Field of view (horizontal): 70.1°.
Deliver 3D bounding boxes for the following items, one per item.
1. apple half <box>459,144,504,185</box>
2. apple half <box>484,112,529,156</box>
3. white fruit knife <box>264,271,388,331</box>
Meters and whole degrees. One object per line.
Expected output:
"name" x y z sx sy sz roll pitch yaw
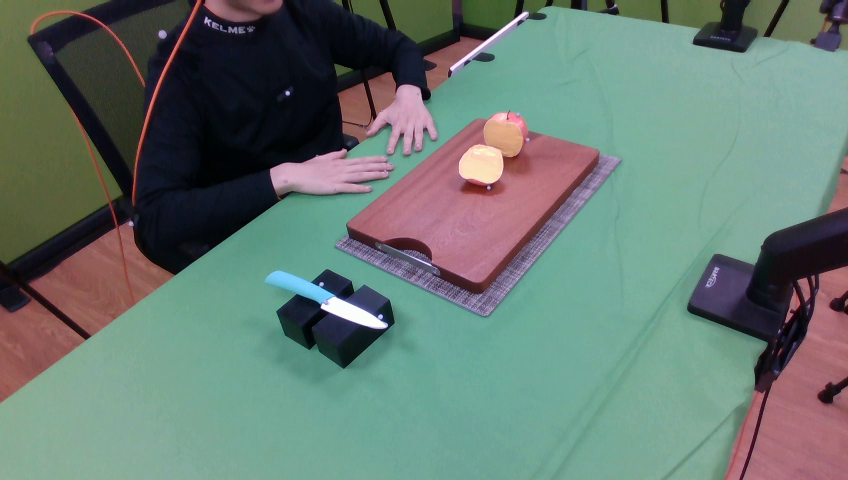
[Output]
"apple half" 0.102 -0.125 1.040 0.081 0.033 0.081 -3 65 7
"apple half" 0.154 -0.195 1.090 0.080 0.075 0.053 13 40 28
"white fruit knife" -0.134 0.082 0.824 0.206 0.016 0.027 20 71 25
